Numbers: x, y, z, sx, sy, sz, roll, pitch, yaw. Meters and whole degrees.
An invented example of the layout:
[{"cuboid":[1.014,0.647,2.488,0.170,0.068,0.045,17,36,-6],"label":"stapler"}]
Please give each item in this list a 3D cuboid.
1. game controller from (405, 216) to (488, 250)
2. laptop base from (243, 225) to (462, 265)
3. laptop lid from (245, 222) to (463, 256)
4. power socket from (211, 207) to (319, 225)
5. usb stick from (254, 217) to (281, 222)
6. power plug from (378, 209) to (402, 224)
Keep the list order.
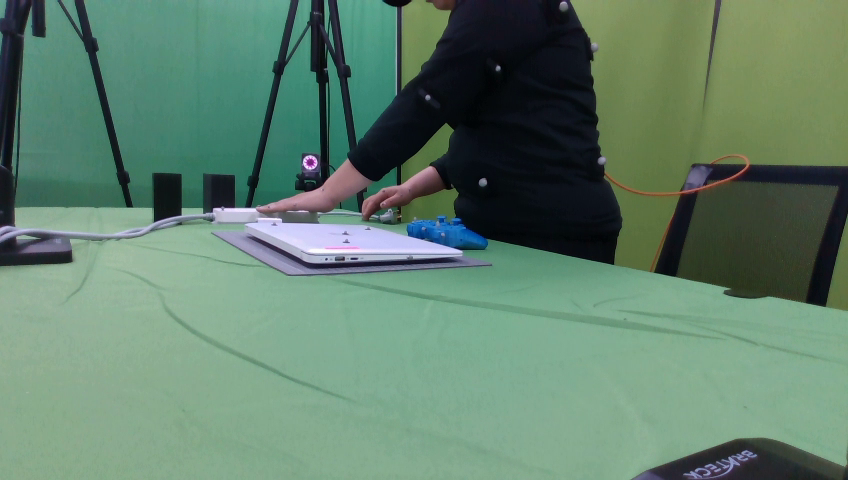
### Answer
[{"cuboid":[0.035,-0.013,1.067,0.097,0.051,0.154,-6,10,-29],"label":"game controller"},{"cuboid":[-0.129,0.007,0.951,0.237,0.023,0.352,2,6,-30],"label":"laptop base"},{"cuboid":[-0.126,-0.005,0.951,0.243,0.013,0.355,1,7,-28],"label":"laptop lid"},{"cuboid":[-0.335,-0.051,1.282,0.228,0.032,0.072,-2,10,-29],"label":"power socket"},{"cuboid":[-0.296,-0.028,1.114,0.059,0.027,0.021,-4,12,-30],"label":"usb stick"},{"cuboid":[-0.082,-0.061,1.421,0.053,0.035,0.072,-15,22,-7],"label":"power plug"}]
